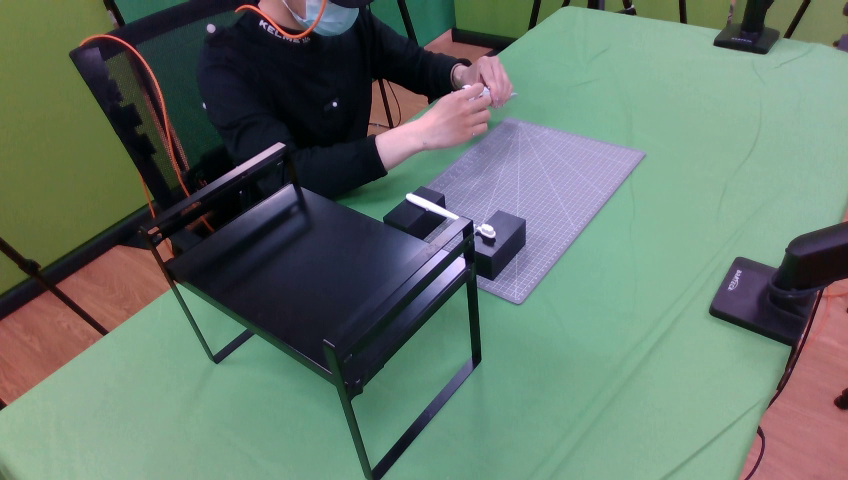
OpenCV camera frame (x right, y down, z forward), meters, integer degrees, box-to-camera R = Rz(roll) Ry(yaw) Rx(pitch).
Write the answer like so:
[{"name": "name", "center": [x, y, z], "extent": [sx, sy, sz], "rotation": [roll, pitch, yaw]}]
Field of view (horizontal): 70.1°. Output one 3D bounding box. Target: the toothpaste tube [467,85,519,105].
[{"name": "toothpaste tube", "center": [0.127, -0.277, 1.163], "extent": [0.055, 0.034, 0.166], "rotation": [-16, 0, 34]}]

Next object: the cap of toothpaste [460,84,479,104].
[{"name": "cap of toothpaste", "center": [0.083, -0.266, 1.100], "extent": [0.037, 0.037, 0.011], "rotation": [24, 22, 31]}]

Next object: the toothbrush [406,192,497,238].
[{"name": "toothbrush", "center": [0.038, -0.043, 0.937], "extent": [0.180, 0.017, 0.014], "rotation": [26, 66, 35]}]
